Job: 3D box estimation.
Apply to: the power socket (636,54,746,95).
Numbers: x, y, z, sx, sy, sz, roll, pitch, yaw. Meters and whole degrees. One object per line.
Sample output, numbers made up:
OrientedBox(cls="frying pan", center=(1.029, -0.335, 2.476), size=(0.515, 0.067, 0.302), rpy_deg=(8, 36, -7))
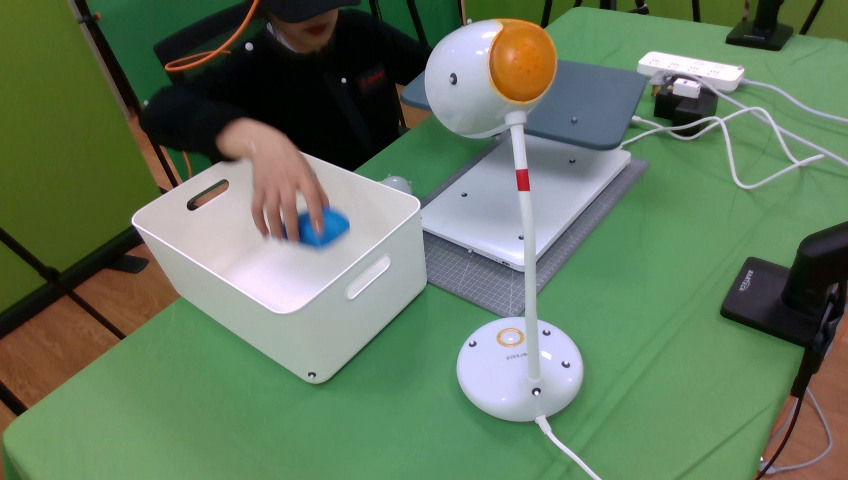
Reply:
OrientedBox(cls="power socket", center=(0.564, -0.357, 1.293), size=(0.225, 0.033, 0.072), rpy_deg=(24, 51, 33))

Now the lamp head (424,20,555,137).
OrientedBox(cls="lamp head", center=(0.069, -0.153, 0.572), size=(0.113, 0.112, 0.122), rpy_deg=(-21, 16, -14))

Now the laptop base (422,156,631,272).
OrientedBox(cls="laptop base", center=(0.176, -0.083, 1.055), size=(0.233, 0.023, 0.355), rpy_deg=(21, 48, 36))

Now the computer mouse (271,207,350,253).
OrientedBox(cls="computer mouse", center=(-0.156, -0.018, 0.815), size=(0.116, 0.041, 0.063), rpy_deg=(8, 36, 43))

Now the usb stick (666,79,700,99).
OrientedBox(cls="usb stick", center=(0.492, -0.288, 1.152), size=(0.058, 0.027, 0.021), rpy_deg=(20, 50, 34))

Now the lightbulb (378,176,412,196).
OrientedBox(cls="lightbulb", center=(-0.066, -0.086, 1.084), size=(0.060, 0.060, 0.107), rpy_deg=(-38, 32, -30))

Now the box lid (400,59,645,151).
OrientedBox(cls="box lid", center=(0.172, -0.254, 1.026), size=(0.370, 0.015, 0.263), rpy_deg=(17, 44, 18))

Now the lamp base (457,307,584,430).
OrientedBox(cls="lamp base", center=(0.115, 0.108, 0.713), size=(0.161, 0.181, 0.178), rpy_deg=(-17, 43, -8))

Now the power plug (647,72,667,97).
OrientedBox(cls="power plug", center=(0.493, -0.321, 1.261), size=(0.073, 0.052, 0.035), rpy_deg=(1, 20, -41))

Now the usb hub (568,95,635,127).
OrientedBox(cls="usb hub", center=(0.360, -0.263, 1.229), size=(0.124, 0.025, 0.049), rpy_deg=(24, 50, 34))

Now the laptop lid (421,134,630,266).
OrientedBox(cls="laptop lid", center=(0.173, -0.093, 1.049), size=(0.239, 0.013, 0.358), rpy_deg=(23, 49, 36))

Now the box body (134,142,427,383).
OrientedBox(cls="box body", center=(-0.201, 0.018, 0.896), size=(0.361, 0.161, 0.255), rpy_deg=(23, 50, 33))
